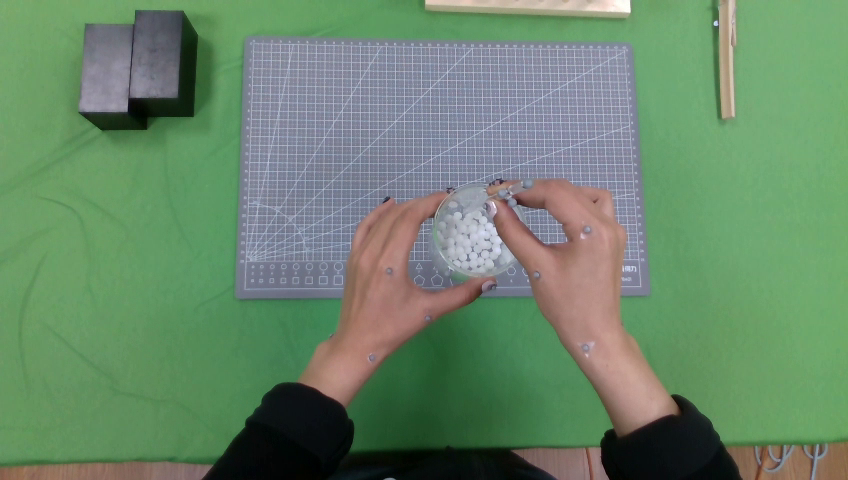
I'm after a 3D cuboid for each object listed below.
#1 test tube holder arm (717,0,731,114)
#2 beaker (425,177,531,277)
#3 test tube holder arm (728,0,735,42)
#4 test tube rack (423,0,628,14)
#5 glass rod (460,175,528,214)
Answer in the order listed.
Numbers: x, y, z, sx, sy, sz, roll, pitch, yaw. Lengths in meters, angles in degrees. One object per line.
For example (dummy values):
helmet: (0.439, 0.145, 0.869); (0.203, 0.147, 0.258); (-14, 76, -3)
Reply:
test tube holder arm: (0.355, -0.235, 0.716); (0.013, 0.015, 0.177); (11, 79, -31)
beaker: (0.041, -0.005, 0.514); (0.084, 0.100, 0.074); (19, 83, -2)
test tube holder arm: (0.364, -0.279, 0.727); (0.010, 0.015, 0.087); (12, 79, -31)
test tube rack: (0.122, -0.313, 0.684); (0.242, 0.085, 0.066); (1, 80, -3)
glass rod: (0.047, -0.031, 0.459); (0.008, 0.199, 0.008); (0, 87, -7)
